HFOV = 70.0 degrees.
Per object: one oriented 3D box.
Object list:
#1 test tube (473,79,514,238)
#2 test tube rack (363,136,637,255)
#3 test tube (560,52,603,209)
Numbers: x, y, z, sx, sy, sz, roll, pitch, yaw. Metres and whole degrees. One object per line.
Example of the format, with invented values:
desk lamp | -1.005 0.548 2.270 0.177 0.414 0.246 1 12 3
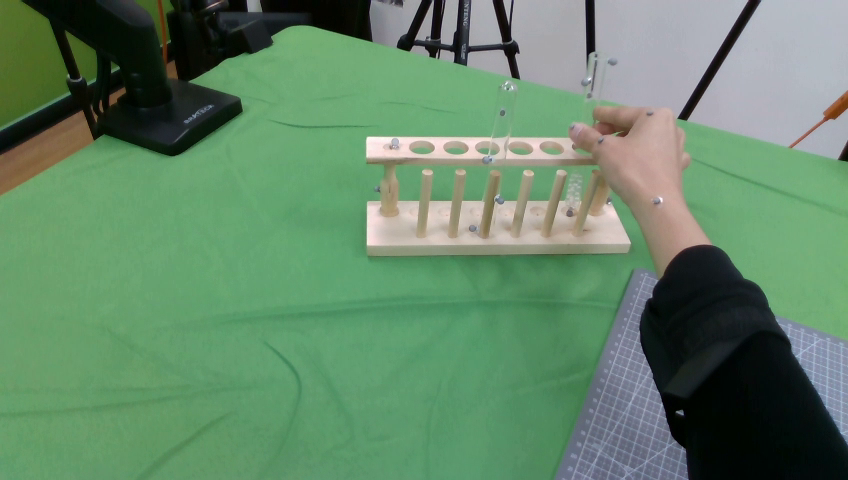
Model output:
test tube | 0.057 -0.063 0.508 0.017 0.152 0.017 3 39 -2
test tube rack | 0.067 -0.041 0.551 0.243 0.086 0.066 -1 41 -6
test tube | 0.139 -0.092 0.540 0.017 0.151 0.017 0 37 0
